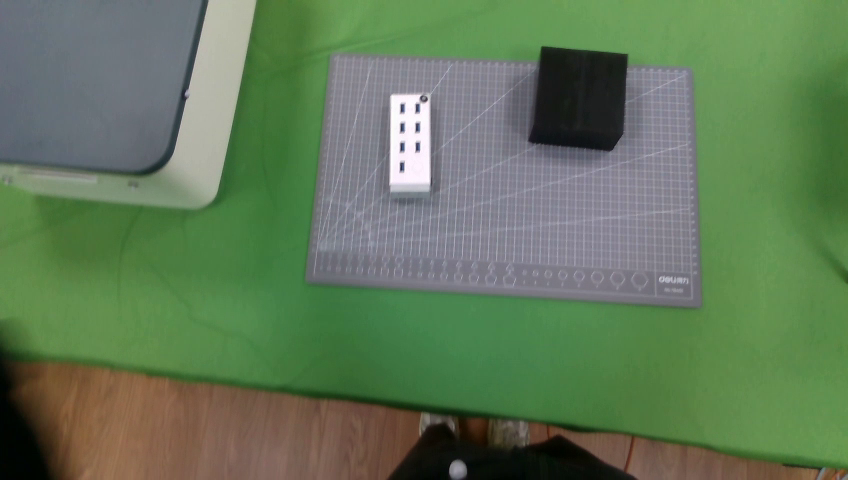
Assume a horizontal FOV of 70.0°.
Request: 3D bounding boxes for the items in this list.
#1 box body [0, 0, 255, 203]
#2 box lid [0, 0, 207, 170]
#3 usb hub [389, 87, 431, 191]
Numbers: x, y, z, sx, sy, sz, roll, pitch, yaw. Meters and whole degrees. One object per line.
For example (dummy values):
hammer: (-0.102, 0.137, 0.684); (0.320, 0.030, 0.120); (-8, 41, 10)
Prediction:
box body: (-0.349, -0.236, 0.690); (0.254, 0.161, 0.362); (6, 77, 3)
box lid: (-0.352, -0.252, 0.618); (0.263, 0.015, 0.369); (6, 77, 3)
usb hub: (-0.016, -0.121, 0.721); (0.049, 0.025, 0.124); (0, 77, 1)
